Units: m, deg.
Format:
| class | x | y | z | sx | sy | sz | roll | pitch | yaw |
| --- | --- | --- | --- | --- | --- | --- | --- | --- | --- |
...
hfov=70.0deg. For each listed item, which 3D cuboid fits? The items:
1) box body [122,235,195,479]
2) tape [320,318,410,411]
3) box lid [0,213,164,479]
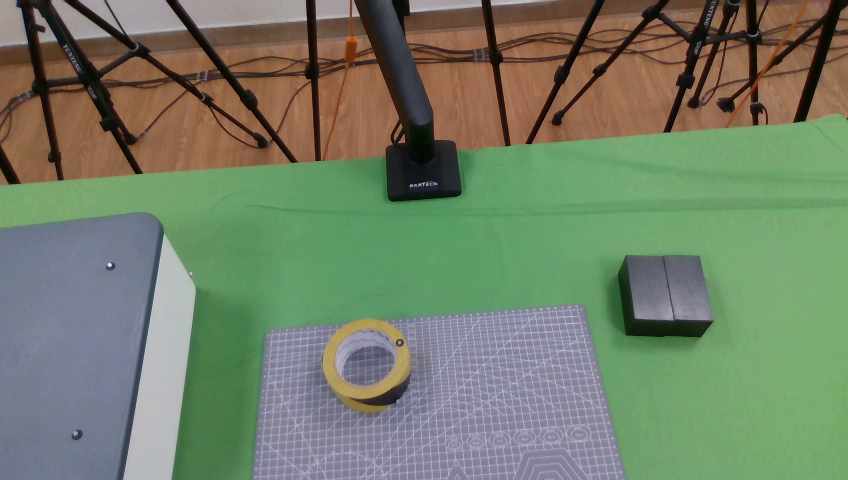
| class | x | y | z | sx | sy | sz | roll | pitch | yaw |
| --- | --- | --- | --- | --- | --- | --- | --- | --- | --- |
| box body | -0.441 | 0.170 | 0.739 | 0.254 | 0.162 | 0.360 | -6 | 56 | -2 |
| tape | -0.075 | 0.163 | 0.791 | 0.117 | 0.053 | 0.116 | -1 | 57 | 3 |
| box lid | -0.444 | 0.127 | 0.679 | 0.263 | 0.015 | 0.367 | -6 | 57 | -1 |
